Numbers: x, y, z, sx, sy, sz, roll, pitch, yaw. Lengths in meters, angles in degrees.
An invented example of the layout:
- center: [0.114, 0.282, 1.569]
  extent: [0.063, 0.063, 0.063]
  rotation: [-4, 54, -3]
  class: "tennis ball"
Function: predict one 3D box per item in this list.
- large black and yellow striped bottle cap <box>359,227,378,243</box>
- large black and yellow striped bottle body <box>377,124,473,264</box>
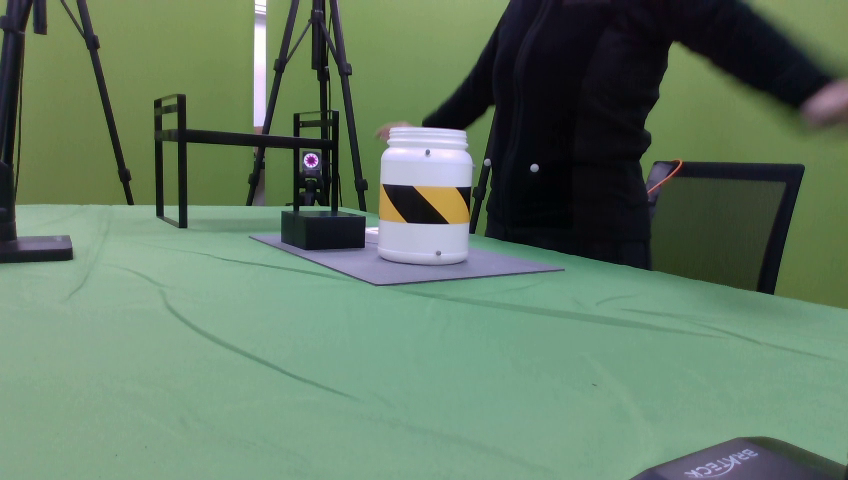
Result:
- center: [-0.054, -0.010, 1.052]
  extent: [0.115, 0.019, 0.115]
  rotation: [1, 7, 0]
  class: "large black and yellow striped bottle cap"
- center: [0.001, -0.066, 0.851]
  extent: [0.131, 0.184, 0.130]
  rotation: [3, 7, 0]
  class: "large black and yellow striped bottle body"
